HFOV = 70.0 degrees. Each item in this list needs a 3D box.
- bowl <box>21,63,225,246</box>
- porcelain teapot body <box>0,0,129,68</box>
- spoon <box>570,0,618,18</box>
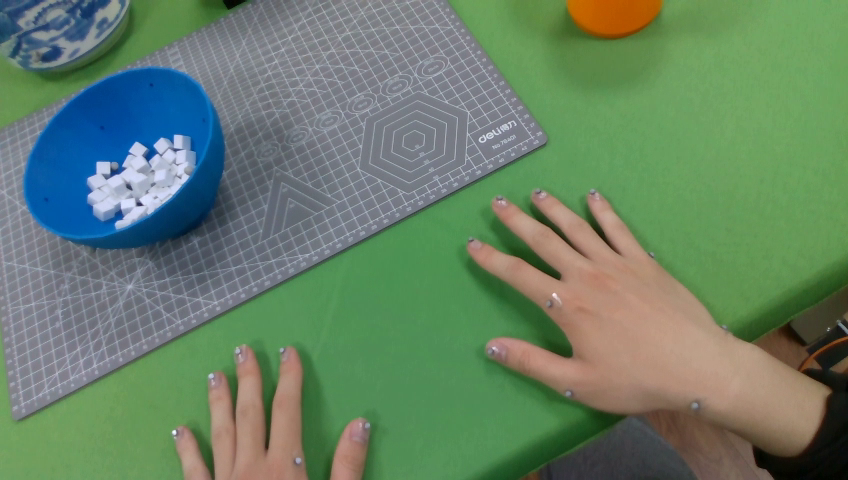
[{"bbox_3d":[-0.215,-0.053,0.471,0.151,0.077,0.150,-5,64,10],"label":"bowl"},{"bbox_3d":[-0.408,-0.258,0.530,0.205,0.227,0.144,-23,63,2],"label":"porcelain teapot body"},{"bbox_3d":[0.176,-0.251,0.447,0.022,0.194,0.041,-8,55,-43],"label":"spoon"}]
